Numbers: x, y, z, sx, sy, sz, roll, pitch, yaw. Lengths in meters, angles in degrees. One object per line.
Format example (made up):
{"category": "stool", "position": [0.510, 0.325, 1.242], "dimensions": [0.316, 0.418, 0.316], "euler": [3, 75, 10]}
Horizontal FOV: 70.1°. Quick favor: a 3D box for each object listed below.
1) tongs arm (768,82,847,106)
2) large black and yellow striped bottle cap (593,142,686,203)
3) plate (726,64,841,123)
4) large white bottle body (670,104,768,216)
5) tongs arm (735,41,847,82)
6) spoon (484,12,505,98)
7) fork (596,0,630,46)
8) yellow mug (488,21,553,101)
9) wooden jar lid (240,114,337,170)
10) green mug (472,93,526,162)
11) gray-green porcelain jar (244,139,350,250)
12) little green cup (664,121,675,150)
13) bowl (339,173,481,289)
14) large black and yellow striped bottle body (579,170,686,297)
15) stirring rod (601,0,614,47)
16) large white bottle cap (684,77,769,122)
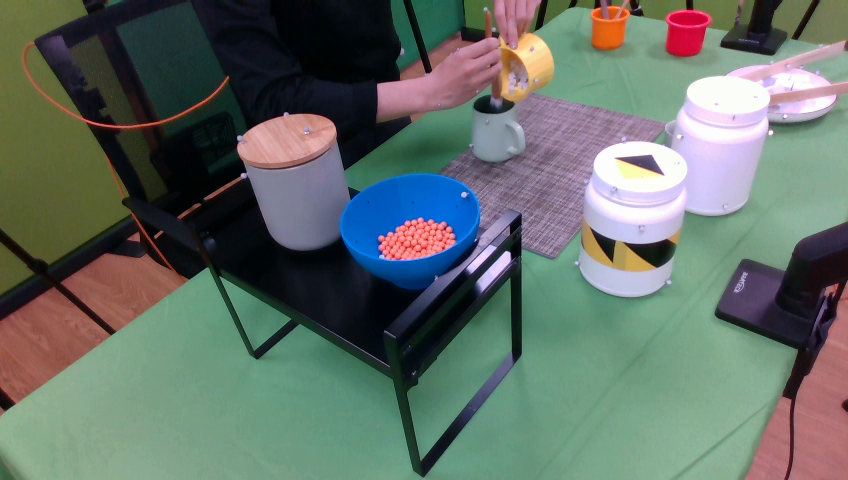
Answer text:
{"category": "tongs arm", "position": [0.738, -0.282, 1.134], "dimensions": [0.388, 0.028, 0.028], "euler": [-9, 46, -5]}
{"category": "large black and yellow striped bottle cap", "position": [0.280, -0.090, 0.786], "dimensions": [0.115, 0.019, 0.114], "euler": [-5, 41, 5]}
{"category": "plate", "position": [0.695, -0.283, 1.189], "dimensions": [0.207, 0.039, 0.206], "euler": [-4, 40, 4]}
{"category": "large white bottle body", "position": [0.458, -0.146, 0.953], "dimensions": [0.130, 0.185, 0.130], "euler": [-4, 40, 4]}
{"category": "tongs arm", "position": [0.712, -0.332, 1.194], "dimensions": [0.386, 0.026, 0.050], "euler": [-19, 45, -16]}
{"category": "spoon", "position": [0.114, -0.299, 0.991], "dimensions": [0.021, 0.195, 0.041], "euler": [-17, 64, 9]}
{"category": "fork", "position": [0.481, -0.556, 1.452], "dimensions": [0.028, 0.019, 0.207], "euler": [40, 103, 38]}
{"category": "yellow mug", "position": [0.165, -0.319, 1.066], "dimensions": [0.064, 0.131, 0.099], "euler": [-34, 28, -28]}
{"category": "wooden jar lid", "position": [-0.149, -0.106, 0.673], "dimensions": [0.108, 0.021, 0.108], "euler": [-6, 39, 5]}
{"category": "green mug", "position": [0.144, -0.202, 1.122], "dimensions": [0.093, 0.105, 0.124], "euler": [-29, 45, -23]}
{"category": "gray-green porcelain jar", "position": [-0.143, -0.060, 0.714], "dimensions": [0.106, 0.127, 0.105], "euler": [-4, 41, 4]}
{"category": "little green cup", "position": [0.472, -0.188, 1.113], "dimensions": [0.061, 0.039, 0.061], "euler": [-4, 40, 4]}
{"category": "bowl", "position": [-0.011, 0.001, 0.660], "dimensions": [0.151, 0.077, 0.150], "euler": [-5, 41, 5]}
{"category": "large black and yellow striped bottle body", "position": [0.287, -0.027, 0.841], "dimensions": [0.131, 0.185, 0.130], "euler": [-4, 40, 4]}
{"category": "stirring rod", "position": [0.440, -0.552, 1.463], "dimensions": [0.014, 0.006, 0.175], "euler": [-7, 83, 2]}
{"category": "large white bottle cap", "position": [0.448, -0.209, 0.898], "dimensions": [0.115, 0.018, 0.114], "euler": [-4, 40, 4]}
